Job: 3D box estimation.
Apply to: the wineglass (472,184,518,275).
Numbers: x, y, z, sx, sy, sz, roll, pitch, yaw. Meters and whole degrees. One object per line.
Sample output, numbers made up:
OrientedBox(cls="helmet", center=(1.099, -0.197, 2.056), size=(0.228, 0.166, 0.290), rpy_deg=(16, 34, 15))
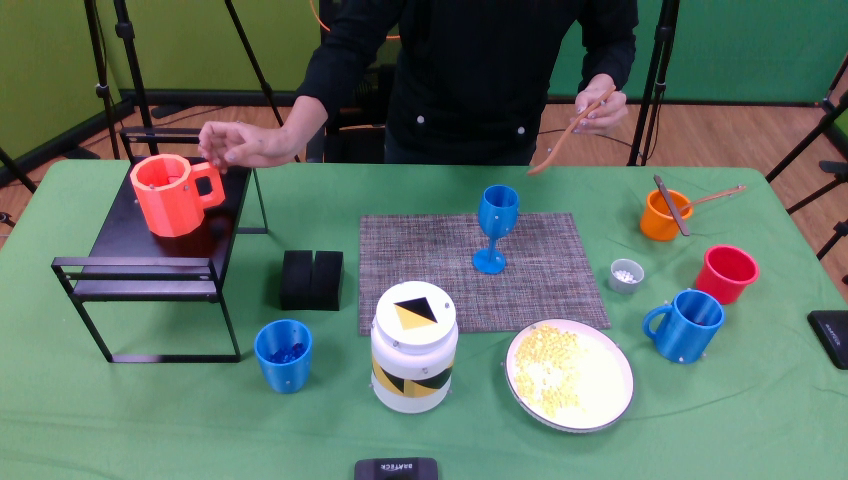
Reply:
OrientedBox(cls="wineglass", center=(0.129, -0.018, 1.113), size=(0.074, 0.173, 0.073), rpy_deg=(2, 46, -2))

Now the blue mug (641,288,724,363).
OrientedBox(cls="blue mug", center=(0.432, 0.144, 1.033), size=(0.116, 0.106, 0.082), rpy_deg=(8, 46, 5))

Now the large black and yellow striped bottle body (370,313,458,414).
OrientedBox(cls="large black and yellow striped bottle body", center=(-0.017, 0.165, 0.924), size=(0.131, 0.185, 0.130), rpy_deg=(2, 46, -2))

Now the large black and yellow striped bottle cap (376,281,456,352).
OrientedBox(cls="large black and yellow striped bottle cap", center=(-0.011, 0.107, 0.863), size=(0.115, 0.019, 0.114), rpy_deg=(2, 47, -2))

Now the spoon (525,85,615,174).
OrientedBox(cls="spoon", center=(0.232, -0.174, 0.975), size=(0.021, 0.194, 0.041), rpy_deg=(41, 26, 5))

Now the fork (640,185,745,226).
OrientedBox(cls="fork", center=(0.534, -0.069, 1.215), size=(0.207, 0.019, 0.028), rpy_deg=(-26, 27, 33))

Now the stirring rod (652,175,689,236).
OrientedBox(cls="stirring rod", center=(0.491, -0.072, 1.211), size=(0.014, 0.006, 0.175), rpy_deg=(-1, 46, -6))

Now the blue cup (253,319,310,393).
OrientedBox(cls="blue cup", center=(-0.217, 0.187, 0.943), size=(0.093, 0.101, 0.092), rpy_deg=(3, 45, -3))

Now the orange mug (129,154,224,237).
OrientedBox(cls="orange mug", center=(-0.377, -0.075, 0.936), size=(0.126, 0.101, 0.083), rpy_deg=(-22, 51, -18))

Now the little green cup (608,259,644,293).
OrientedBox(cls="little green cup", center=(0.379, 0.070, 1.147), size=(0.061, 0.039, 0.061), rpy_deg=(3, 45, -2))

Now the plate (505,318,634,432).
OrientedBox(cls="plate", center=(0.235, 0.221, 0.991), size=(0.209, 0.038, 0.208), rpy_deg=(2, 45, -2))
